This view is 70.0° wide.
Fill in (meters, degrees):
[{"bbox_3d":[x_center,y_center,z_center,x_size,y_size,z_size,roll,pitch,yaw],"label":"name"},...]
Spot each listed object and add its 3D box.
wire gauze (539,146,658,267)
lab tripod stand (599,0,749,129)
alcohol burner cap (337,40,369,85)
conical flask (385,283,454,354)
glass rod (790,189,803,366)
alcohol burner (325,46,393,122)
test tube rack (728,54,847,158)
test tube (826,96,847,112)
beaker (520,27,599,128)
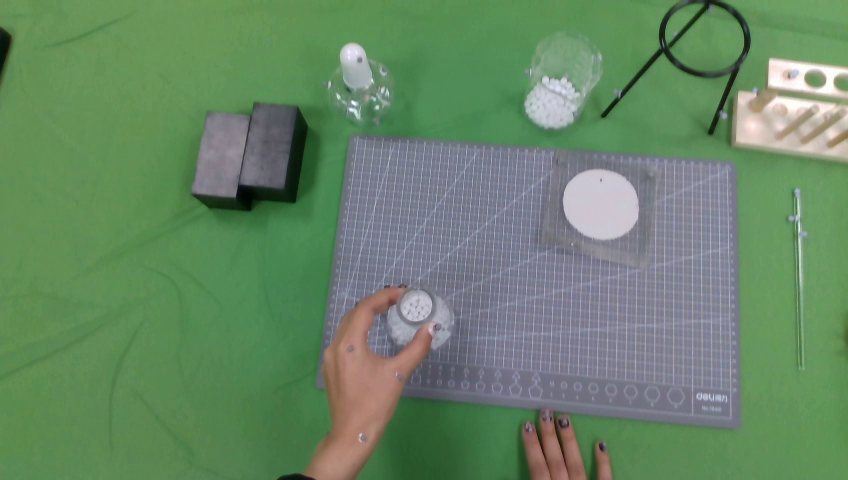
[{"bbox_3d":[0.199,-0.042,0.689,0.125,0.011,0.121,13,77,2],"label":"wire gauze"},{"bbox_3d":[0.275,-0.189,0.661,0.148,0.132,0.147,0,78,3],"label":"lab tripod stand"},{"bbox_3d":[-0.077,-0.191,0.644,0.034,0.048,0.033,0,70,0],"label":"alcohol burner cap"},{"bbox_3d":[-0.007,0.073,0.609,0.075,0.122,0.075,0,76,2],"label":"conical flask"},{"bbox_3d":[0.410,0.038,0.667,0.008,0.008,0.199,6,77,3],"label":"glass rod"},{"bbox_3d":[-0.076,-0.181,0.678,0.078,0.119,0.077,-1,77,4],"label":"alcohol burner"},{"bbox_3d":[0.478,-0.138,0.667,0.242,0.085,0.066,8,76,4],"label":"test tube rack"},{"bbox_3d":[0.461,-0.166,0.624,0.017,0.151,0.017,-1,76,4],"label":"test tube"},{"bbox_3d":[0.148,-0.174,0.678,0.074,0.101,0.083,-13,77,-1],"label":"beaker"}]
